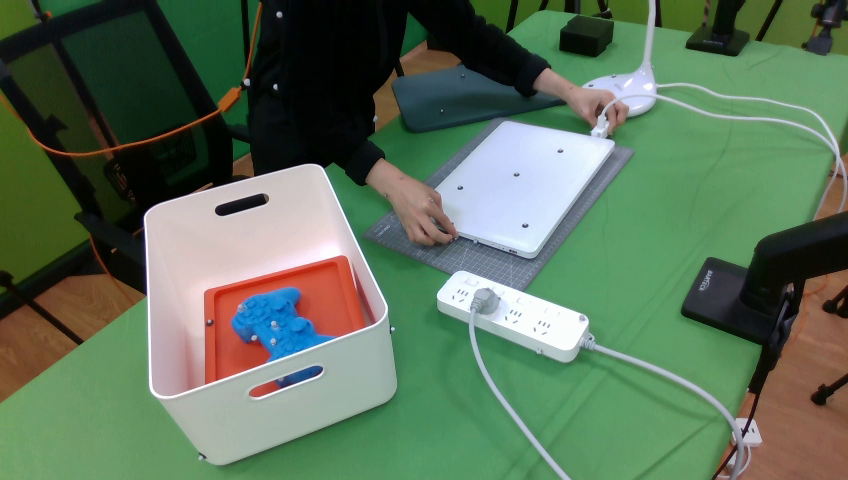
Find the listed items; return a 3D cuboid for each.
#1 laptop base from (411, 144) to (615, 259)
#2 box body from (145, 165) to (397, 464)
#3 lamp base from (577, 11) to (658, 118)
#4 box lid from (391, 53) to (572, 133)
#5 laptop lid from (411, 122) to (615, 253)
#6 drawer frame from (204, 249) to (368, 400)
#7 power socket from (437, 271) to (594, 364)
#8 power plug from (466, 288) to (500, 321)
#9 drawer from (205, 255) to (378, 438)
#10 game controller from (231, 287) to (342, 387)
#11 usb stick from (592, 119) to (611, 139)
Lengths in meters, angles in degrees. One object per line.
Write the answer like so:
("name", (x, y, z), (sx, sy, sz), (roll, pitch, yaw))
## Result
("laptop base", (0.167, -0.102, 1.074), (0.234, 0.023, 0.355), (17, 46, 30))
("box body", (-0.205, 0.080, 0.802), (0.255, 0.161, 0.361), (-18, 41, -13))
("lamp base", (0.406, -0.364, 1.222), (0.180, 0.181, 0.159), (-20, 42, -18))
("box lid", (0.123, -0.339, 1.366), (0.372, 0.015, 0.261), (-12, 40, -5))
("laptop lid", (0.164, -0.112, 1.068), (0.240, 0.013, 0.357), (19, 46, 31))
("drawer frame", (-0.174, 0.129, 0.790), (0.202, 0.083, 0.212), (-16, 45, -8))
("power socket", (0.118, 0.102, 0.830), (0.225, 0.033, 0.072), (20, 48, 28))
("power plug", (0.072, 0.093, 0.813), (0.035, 0.053, 0.073), (30, 54, 35))
("drawer", (-0.177, 0.130, 0.787), (0.195, 0.073, 0.210), (-14, 39, -9))
("game controller", (-0.167, 0.110, 0.734), (0.097, 0.052, 0.154), (-34, 47, -22))
("usb stick", (0.334, -0.202, 1.149), (0.021, 0.027, 0.059), (22, 54, 27))
